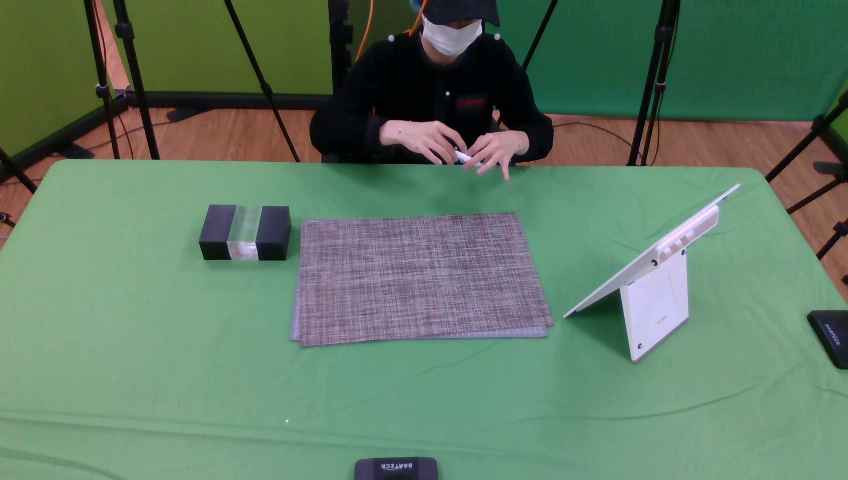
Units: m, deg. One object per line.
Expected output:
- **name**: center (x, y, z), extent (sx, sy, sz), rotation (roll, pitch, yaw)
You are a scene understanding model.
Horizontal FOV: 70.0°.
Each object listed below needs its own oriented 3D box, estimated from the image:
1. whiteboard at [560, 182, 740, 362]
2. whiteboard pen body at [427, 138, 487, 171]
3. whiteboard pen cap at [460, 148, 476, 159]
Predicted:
- **whiteboard**: center (0.406, 0.075, 1.001), extent (0.217, 0.306, 0.143), rotation (-28, 73, -28)
- **whiteboard pen body**: center (0.068, -0.170, 1.221), extent (0.141, 0.017, 0.017), rotation (24, 42, -21)
- **whiteboard pen cap**: center (0.090, -0.180, 1.259), extent (0.033, 0.018, 0.018), rotation (22, 48, 5)
